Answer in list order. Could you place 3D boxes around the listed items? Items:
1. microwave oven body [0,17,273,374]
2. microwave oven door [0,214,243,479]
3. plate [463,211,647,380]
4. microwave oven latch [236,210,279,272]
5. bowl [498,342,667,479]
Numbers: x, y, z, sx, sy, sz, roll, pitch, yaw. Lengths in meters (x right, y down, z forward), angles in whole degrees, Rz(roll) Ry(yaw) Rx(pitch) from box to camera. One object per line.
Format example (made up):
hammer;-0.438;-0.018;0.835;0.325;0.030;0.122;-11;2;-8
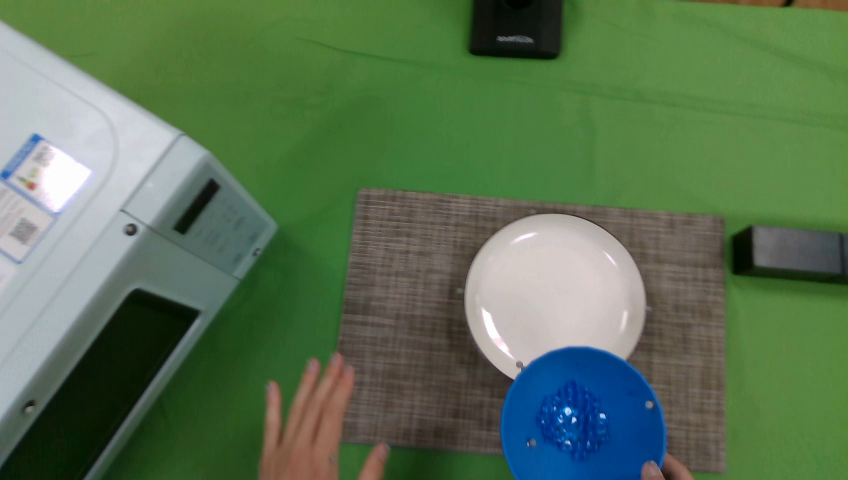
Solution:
microwave oven body;-0.424;0.044;0.601;0.325;0.261;0.441;31;80;7
microwave oven door;-0.323;0.153;0.570;0.039;0.245;0.355;31;79;9
plate;0.148;0.070;0.702;0.208;0.039;0.206;0;77;1
microwave oven latch;-0.202;-0.004;0.709;0.030;0.029;0.079;33;80;8
bowl;0.139;0.175;0.575;0.151;0.077;0.150;1;77;-3
